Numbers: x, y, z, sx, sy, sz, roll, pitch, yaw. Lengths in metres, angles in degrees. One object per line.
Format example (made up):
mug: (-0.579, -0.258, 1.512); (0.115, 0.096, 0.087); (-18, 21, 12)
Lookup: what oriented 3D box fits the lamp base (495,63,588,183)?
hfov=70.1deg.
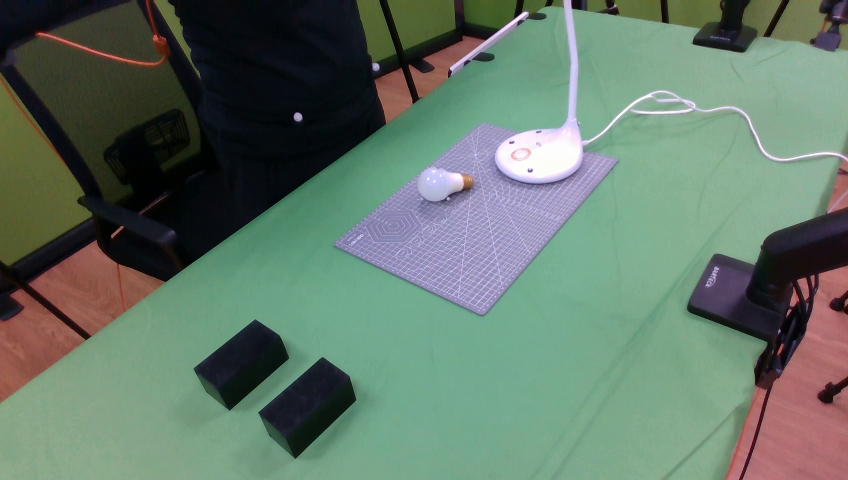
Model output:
lamp base: (0.215, -0.217, 1.067); (0.180, 0.181, 0.159); (-19, 42, -18)

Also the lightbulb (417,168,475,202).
lightbulb: (0.040, -0.098, 1.055); (0.108, 0.059, 0.059); (-7, 37, -25)
